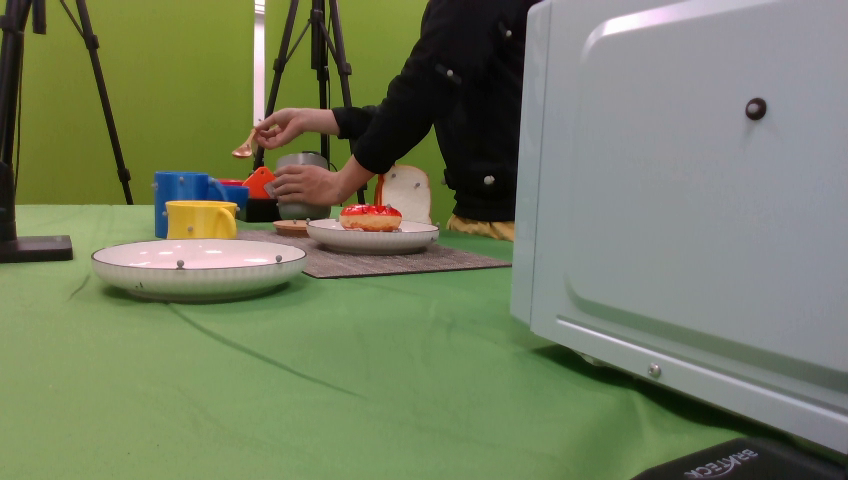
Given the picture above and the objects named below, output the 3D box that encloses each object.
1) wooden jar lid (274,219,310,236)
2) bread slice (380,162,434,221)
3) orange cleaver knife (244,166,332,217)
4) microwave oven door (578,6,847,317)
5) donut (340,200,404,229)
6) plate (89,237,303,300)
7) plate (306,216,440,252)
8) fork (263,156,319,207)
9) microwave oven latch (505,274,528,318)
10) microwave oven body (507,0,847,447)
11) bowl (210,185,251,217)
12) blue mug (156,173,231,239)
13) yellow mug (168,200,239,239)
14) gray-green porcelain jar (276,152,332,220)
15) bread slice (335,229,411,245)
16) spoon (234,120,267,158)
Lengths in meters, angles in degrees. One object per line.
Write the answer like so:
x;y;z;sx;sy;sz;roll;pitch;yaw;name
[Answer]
-0.213;-0.023;1.081;0.108;0.020;0.108;3;7;0;wooden jar lid
-0.035;-0.077;1.125;0.107;0.134;0.018;-4;-2;-25;bread slice
-0.300;-0.089;1.351;0.212;0.077;0.012;32;-11;-34;orange cleaver knife
0.294;-0.067;0.570;0.358;0.243;0.039;-3;9;-31;microwave oven door
-0.081;-0.038;0.945;0.099;0.048;0.099;1;5;0;donut
-0.233;0.029;0.637;0.208;0.039;0.207;2;7;0;plate
-0.079;-0.011;0.950;0.209;0.038;0.209;2;8;0;plate
-0.331;-0.144;1.506;0.207;0.018;0.028;-42;-17;22;fork
0.100;0.041;0.472;0.079;0.029;0.030;-2;8;-30;microwave oven latch
0.331;-0.042;0.425;0.444;0.260;0.324;-2;8;-31;microwave oven body
-0.408;-0.064;1.154;0.151;0.077;0.151;2;8;0;bowl
-0.381;-0.057;1.004;0.117;0.106;0.082;0;7;-12;blue mug
-0.319;-0.023;0.904;0.130;0.064;0.100;9;11;36;yellow mug
-0.244;-0.102;1.235;0.106;0.126;0.106;-6;-12;-1;gray-green porcelain jar
-0.074;-0.005;0.938;0.105;0.019;0.131;-1;4;-19;bread slice
-0.402;-0.241;1.427;0.041;0.021;0.193;7;40;2;spoon
